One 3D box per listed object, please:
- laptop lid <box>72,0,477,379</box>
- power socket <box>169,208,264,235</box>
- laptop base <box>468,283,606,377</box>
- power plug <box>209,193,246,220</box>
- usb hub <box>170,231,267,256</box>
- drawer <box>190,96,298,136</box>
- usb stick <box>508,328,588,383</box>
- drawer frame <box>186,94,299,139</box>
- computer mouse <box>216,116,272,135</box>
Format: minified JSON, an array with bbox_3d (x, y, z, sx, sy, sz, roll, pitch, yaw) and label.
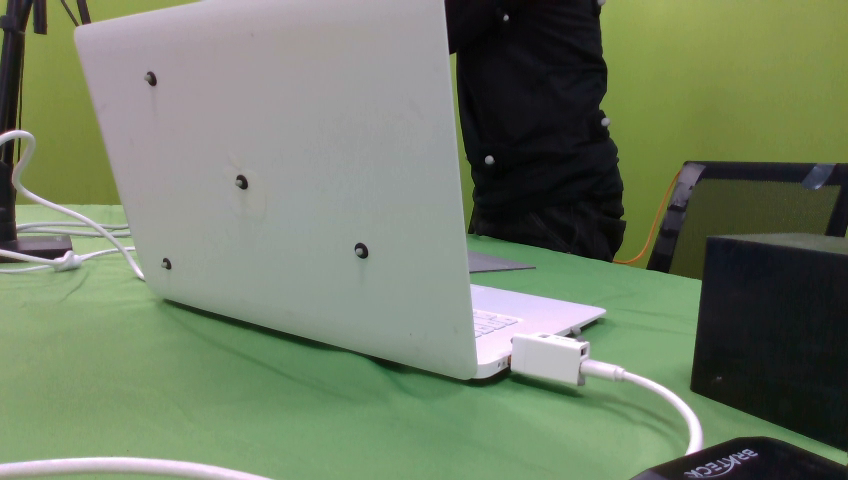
[{"bbox_3d":[-0.125,-0.042,0.418,0.355,0.241,0.013,9,25,34],"label":"laptop lid"},{"bbox_3d":[-0.381,-0.038,1.129,0.072,0.032,0.227,4,8,16],"label":"power socket"},{"bbox_3d":[-0.042,0.057,0.554,0.352,0.023,0.237,7,6,35],"label":"laptop base"},{"bbox_3d":[-0.389,-0.067,1.205,0.072,0.052,0.035,3,7,27],"label":"power plug"},{"bbox_3d":[-0.291,0.004,0.862,0.049,0.025,0.126,10,11,42],"label":"usb hub"},{"bbox_3d":[-0.413,-0.276,1.374,0.195,0.073,0.210,-3,9,-31],"label":"drawer"},{"bbox_3d":[0.072,0.071,0.383,0.059,0.027,0.021,1,3,34],"label":"usb stick"},{"bbox_3d":[-0.417,-0.277,1.378,0.203,0.082,0.212,-3,8,-32],"label":"drawer frame"},{"bbox_3d":[-0.401,-0.257,1.351,0.118,0.041,0.062,-6,15,-34],"label":"computer mouse"}]
